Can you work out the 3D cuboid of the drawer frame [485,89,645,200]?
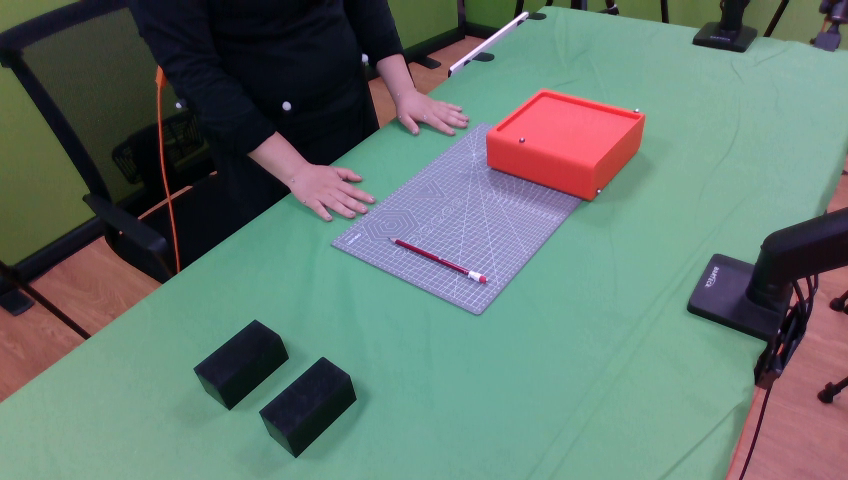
[{"bbox_3d":[0.253,-0.179,1.094,0.212,0.083,0.202,24,48,30],"label":"drawer frame"}]

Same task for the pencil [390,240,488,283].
[{"bbox_3d":[0.018,0.030,0.938,0.192,0.012,0.012,22,48,33],"label":"pencil"}]

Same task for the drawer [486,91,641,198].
[{"bbox_3d":[0.251,-0.179,1.095,0.210,0.073,0.195,24,48,30],"label":"drawer"}]
